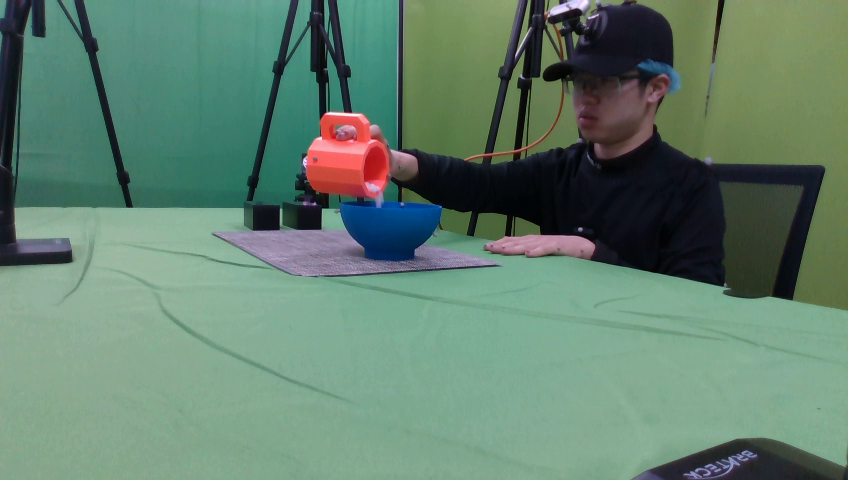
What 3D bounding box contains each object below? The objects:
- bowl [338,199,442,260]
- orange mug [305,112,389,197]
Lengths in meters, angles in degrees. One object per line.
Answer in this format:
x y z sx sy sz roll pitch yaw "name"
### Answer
-0.050 -0.015 0.878 0.151 0.077 0.151 2 8 0 "bowl"
-0.114 -0.127 0.899 0.100 0.126 0.084 12 27 22 "orange mug"
